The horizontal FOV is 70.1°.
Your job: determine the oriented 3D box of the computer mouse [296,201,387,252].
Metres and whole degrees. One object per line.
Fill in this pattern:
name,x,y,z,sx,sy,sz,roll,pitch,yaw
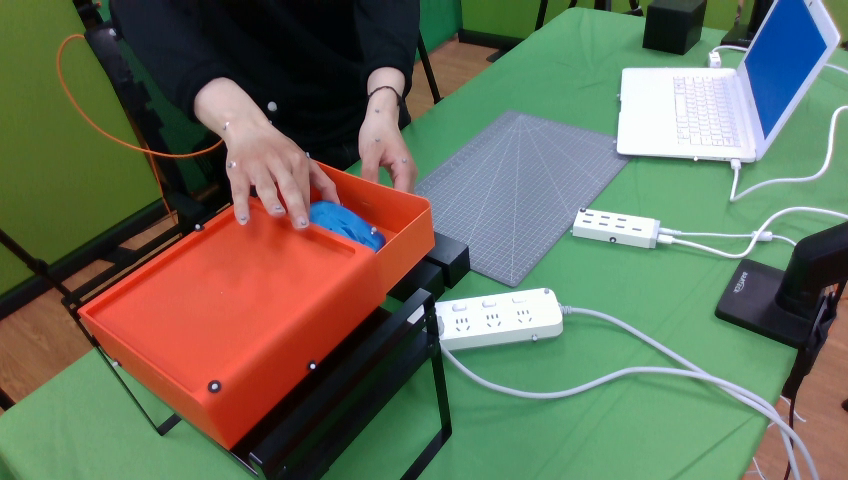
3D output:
computer mouse,-0.101,-0.009,0.683,0.116,0.041,0.063,24,43,24

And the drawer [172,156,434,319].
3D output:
drawer,-0.126,0.008,0.655,0.193,0.073,0.212,22,47,29

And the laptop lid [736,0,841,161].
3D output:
laptop lid,0.641,-0.327,1.090,0.013,0.242,0.356,17,43,5

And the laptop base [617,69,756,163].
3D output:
laptop base,0.509,-0.255,1.201,0.234,0.023,0.353,4,41,16

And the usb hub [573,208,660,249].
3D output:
usb hub,0.302,-0.019,0.950,0.124,0.025,0.049,11,43,20

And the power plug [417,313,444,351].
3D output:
power plug,0.007,0.127,0.786,0.035,0.053,0.072,1,43,9

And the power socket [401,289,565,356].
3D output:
power socket,0.081,0.112,0.822,0.227,0.033,0.072,-7,41,-1

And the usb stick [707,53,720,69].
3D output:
usb stick,0.629,-0.382,1.313,0.021,0.027,0.059,2,46,17

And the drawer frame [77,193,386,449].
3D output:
drawer frame,-0.181,0.063,0.601,0.200,0.083,0.214,22,49,29
